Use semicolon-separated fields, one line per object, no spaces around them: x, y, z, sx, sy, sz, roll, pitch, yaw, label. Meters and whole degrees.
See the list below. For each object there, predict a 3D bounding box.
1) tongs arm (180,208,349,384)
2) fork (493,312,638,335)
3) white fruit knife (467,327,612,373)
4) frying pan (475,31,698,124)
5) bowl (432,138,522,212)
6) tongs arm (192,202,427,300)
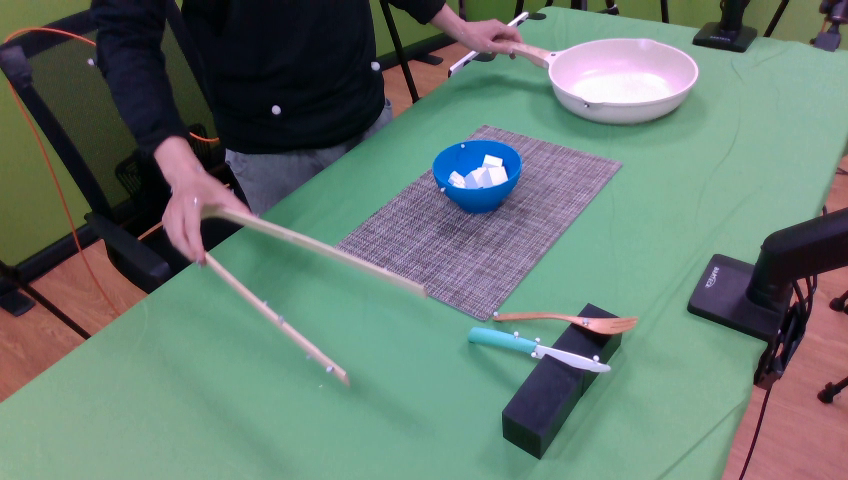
-0.211;0.058;0.775;0.381;0.027;0.051;30;61;31;tongs arm
0.173;0.103;0.774;0.206;0.019;0.028;0;41;40;fork
0.134;0.134;0.742;0.205;0.027;0.016;7;34;41;white fruit knife
0.320;-0.371;1.290;0.485;0.103;0.307;28;50;23;frying pan
0.091;-0.100;1.021;0.151;0.077;0.150;-4;41;4;bowl
-0.163;0.010;0.811;0.385;0.028;0.028;19;59;25;tongs arm
